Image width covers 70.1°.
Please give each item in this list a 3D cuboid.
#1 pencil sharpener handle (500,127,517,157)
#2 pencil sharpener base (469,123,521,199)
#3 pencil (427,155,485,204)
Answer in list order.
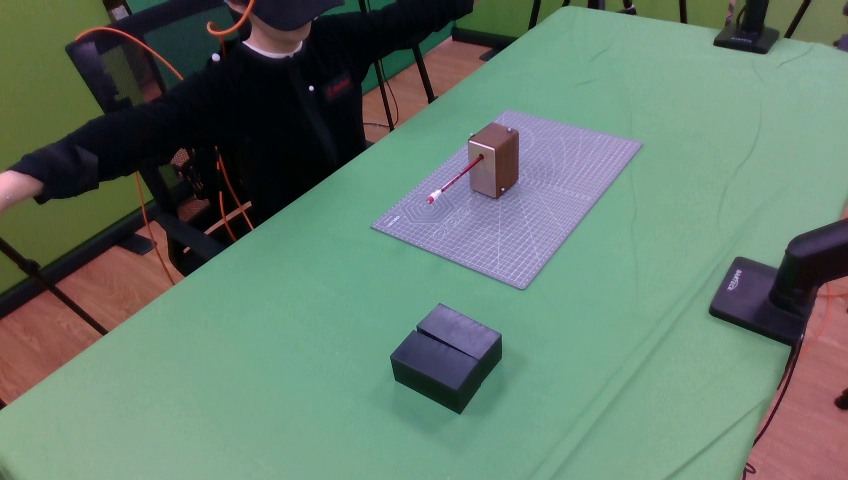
[{"bbox_3d":[0.153,-0.178,1.072,0.036,0.068,0.031,38,55,17],"label":"pencil sharpener handle"},{"bbox_3d":[0.126,-0.138,1.050,0.061,0.107,0.077,25,50,33],"label":"pencil sharpener base"},{"bbox_3d":[0.070,-0.112,0.989,0.012,0.012,0.194,26,51,33],"label":"pencil"}]
